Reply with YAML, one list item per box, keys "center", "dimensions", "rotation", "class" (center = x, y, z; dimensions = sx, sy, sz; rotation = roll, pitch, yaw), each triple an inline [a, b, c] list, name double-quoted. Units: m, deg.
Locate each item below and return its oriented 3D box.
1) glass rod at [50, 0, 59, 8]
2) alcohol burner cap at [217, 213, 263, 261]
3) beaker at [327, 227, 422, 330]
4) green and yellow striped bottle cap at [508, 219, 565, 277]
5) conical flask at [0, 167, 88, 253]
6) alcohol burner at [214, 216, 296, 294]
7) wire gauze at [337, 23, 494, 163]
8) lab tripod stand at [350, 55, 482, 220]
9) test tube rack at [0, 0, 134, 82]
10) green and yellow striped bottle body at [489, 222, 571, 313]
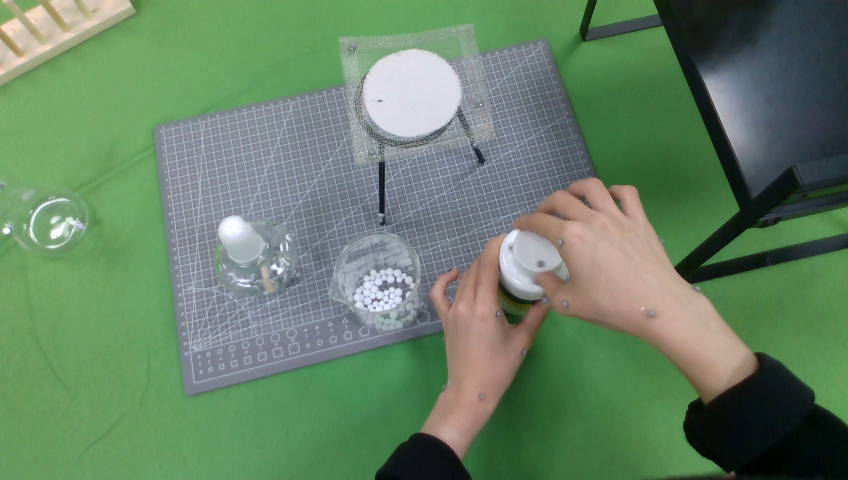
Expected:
- center: [-0.427, -0.312, 0.622]
  dimensions: [0.008, 0.201, 0.008]
  rotation: [1, 69, -2]
  class: "glass rod"
- center: [-0.163, -0.005, 0.529]
  dimensions: [0.034, 0.048, 0.033]
  rotation: [0, 64, 0]
  class: "alcohol burner cap"
- center: [-0.041, 0.042, 0.556]
  dimensions: [0.084, 0.101, 0.073]
  rotation: [-25, 72, -6]
  class: "beaker"
- center: [0.092, 0.006, 0.495]
  dimensions: [0.045, 0.020, 0.045]
  rotation: [0, 71, 0]
  class: "green and yellow striped bottle cap"
- center: [-0.391, -0.039, 0.582]
  dimensions: [0.075, 0.122, 0.075]
  rotation: [0, 71, 2]
  class: "conical flask"
- center: [-0.161, 0.008, 0.563]
  dimensions: [0.078, 0.120, 0.077]
  rotation: [0, 70, 0]
  class: "alcohol burner"
- center: [-0.009, -0.132, 0.523]
  dimensions: [0.121, 0.011, 0.124]
  rotation: [-8, 72, -3]
  class: "wire gauze"
- center: [-0.013, -0.104, 0.585]
  dimensions: [0.148, 0.132, 0.147]
  rotation: [0, 70, 1]
  class: "lab tripod stand"
- center: [-0.464, -0.247, 0.671]
  dimensions: [0.242, 0.085, 0.066]
  rotation: [-33, 74, -9]
  class: "test tube rack"
- center: [0.094, 0.024, 0.547]
  dimensions: [0.063, 0.120, 0.063]
  rotation: [0, 71, 2]
  class: "green and yellow striped bottle body"
